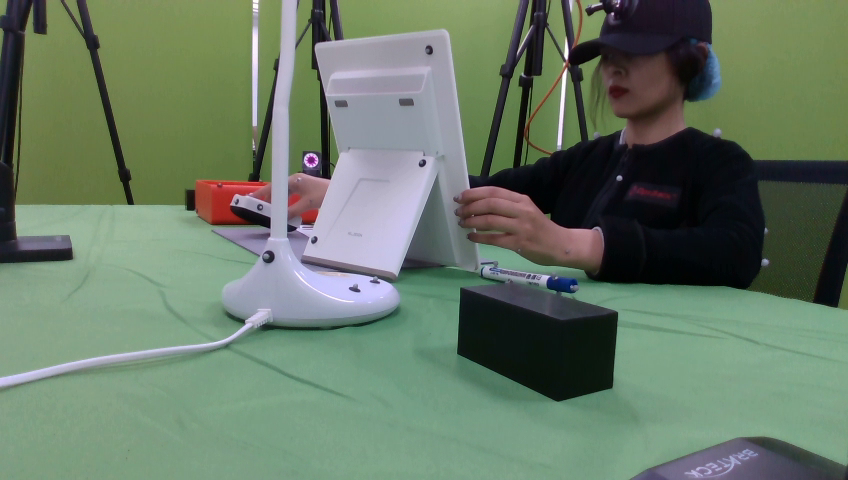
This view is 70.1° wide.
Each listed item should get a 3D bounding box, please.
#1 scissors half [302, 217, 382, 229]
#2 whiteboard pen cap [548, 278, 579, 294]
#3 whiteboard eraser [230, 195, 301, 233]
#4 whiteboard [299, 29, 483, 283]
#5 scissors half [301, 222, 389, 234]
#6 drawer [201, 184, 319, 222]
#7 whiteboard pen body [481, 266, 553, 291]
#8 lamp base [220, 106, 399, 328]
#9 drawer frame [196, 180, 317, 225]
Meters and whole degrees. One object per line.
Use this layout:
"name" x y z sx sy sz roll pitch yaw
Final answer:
"scissors half" -0.161 -0.031 1.198 0.176 0.013 0.040 -9 23 -39
"whiteboard pen cap" 0.148 0.049 0.646 0.018 0.018 0.033 -3 3 -36
"whiteboard eraser" -0.273 -0.042 1.041 0.113 0.042 0.055 22 -11 -41
"whiteboard" -0.074 -0.082 0.742 0.216 0.305 0.144 9 29 38
"scissors half" -0.151 -0.023 1.181 0.176 0.013 0.040 0 24 -21
"drawer" -0.353 -0.082 1.296 0.213 0.073 0.193 -2 10 -28
"whiteboard pen body" 0.115 0.045 0.695 0.017 0.017 0.140 -3 6 -35
"lamp base" -0.102 -0.023 0.531 0.160 0.180 0.179 4 10 10
"drawer frame" -0.359 -0.083 1.292 0.215 0.082 0.200 -2 10 -30
